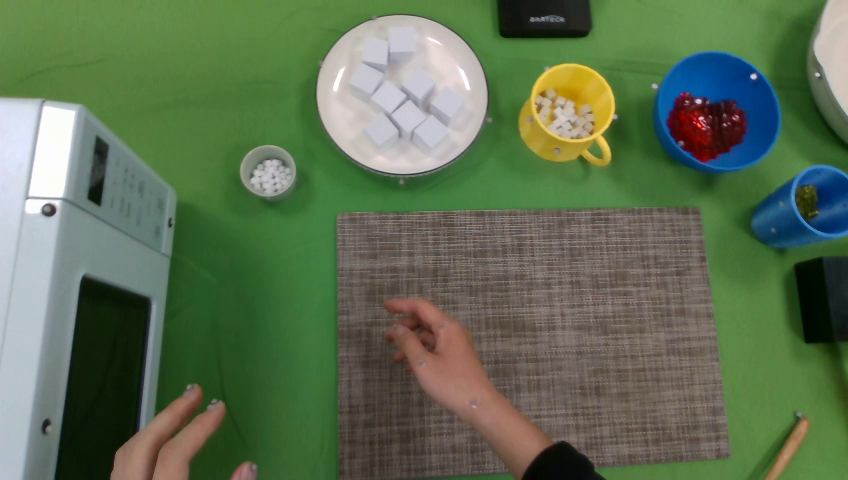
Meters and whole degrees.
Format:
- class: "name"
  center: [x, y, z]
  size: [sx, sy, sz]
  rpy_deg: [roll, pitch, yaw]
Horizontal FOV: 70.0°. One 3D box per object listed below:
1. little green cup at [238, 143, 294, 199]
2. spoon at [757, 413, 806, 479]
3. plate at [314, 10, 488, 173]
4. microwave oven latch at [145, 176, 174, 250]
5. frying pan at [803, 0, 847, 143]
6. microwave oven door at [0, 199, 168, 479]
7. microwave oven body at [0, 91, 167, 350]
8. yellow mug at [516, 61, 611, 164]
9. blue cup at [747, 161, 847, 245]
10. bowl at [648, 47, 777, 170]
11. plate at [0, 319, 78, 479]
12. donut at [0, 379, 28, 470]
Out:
- class: "little green cup"
  center: [-0.181, -0.078, 0.705]
  size: [0.061, 0.039, 0.061]
  rpy_deg: [1, 80, -5]
- class: "spoon"
  center: [0.387, 0.274, 0.693]
  size: [0.041, 0.022, 0.193]
  rpy_deg: [41, 78, 16]
- class: "plate"
  center: [-0.028, -0.178, 0.739]
  size: [0.208, 0.039, 0.206]
  rpy_deg: [1, 79, -4]
- class: "microwave oven latch"
  center: [-0.296, -0.031, 0.669]
  size: [0.030, 0.029, 0.079]
  rpy_deg: [6, 79, -4]
- class: "frying pan"
  center: [0.621, -0.128, 0.749]
  size: [0.307, 0.103, 0.484]
  rpy_deg: [4, 71, -3]
- class: "microwave oven door"
  center: [-0.294, 0.164, 0.527]
  size: [0.039, 0.244, 0.354]
  rpy_deg: [1, 78, -4]
- class: "microwave oven body"
  center: [-0.439, 0.119, 0.529]
  size: [0.326, 0.261, 0.440]
  rpy_deg: [2, 79, -5]
- class: "yellow mug"
  center: [0.178, -0.145, 0.736]
  size: [0.100, 0.064, 0.130]
  rpy_deg: [-39, 85, -10]
- class: "blue cup"
  center: [0.439, -0.035, 0.717]
  size: [0.093, 0.100, 0.092]
  rpy_deg: [1, 76, -4]
- class: "bowl"
  center: [0.337, -0.149, 0.744]
  size: [0.151, 0.077, 0.150]
  rpy_deg: [1, 79, -4]
- class: "plate"
  center: [-0.432, 0.177, 0.573]
  size: [0.209, 0.038, 0.208]
  rpy_deg: [1, 80, -5]
- class: "donut"
  center: [-0.421, 0.173, 0.560]
  size: [0.099, 0.048, 0.098]
  rpy_deg: [1, 81, -8]
